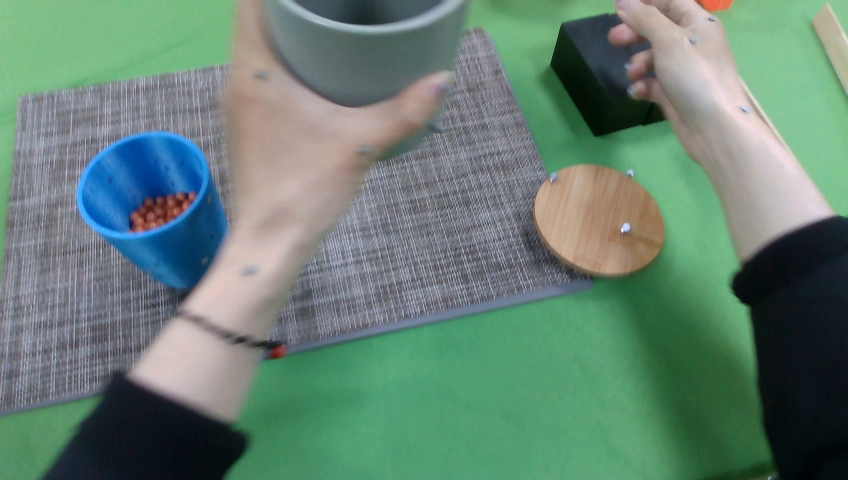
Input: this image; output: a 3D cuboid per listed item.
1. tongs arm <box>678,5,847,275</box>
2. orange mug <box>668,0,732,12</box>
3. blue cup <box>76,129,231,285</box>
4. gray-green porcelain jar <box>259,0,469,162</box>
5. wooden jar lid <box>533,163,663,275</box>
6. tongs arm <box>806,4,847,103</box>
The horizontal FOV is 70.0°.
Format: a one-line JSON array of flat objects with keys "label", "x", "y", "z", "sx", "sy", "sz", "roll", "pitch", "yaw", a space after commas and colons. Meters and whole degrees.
[{"label": "tongs arm", "x": 0.333, "y": -0.075, "z": 0.540, "sx": 0.051, "sy": 0.027, "sz": 0.381, "roll": -7, "pitch": 61, "yaw": -14}, {"label": "orange mug", "x": 0.296, "y": -0.306, "z": 0.637, "sx": 0.083, "sy": 0.101, "sz": 0.125, "roll": -13, "pitch": 56, "yaw": -10}, {"label": "blue cup", "x": -0.184, "y": -0.015, "z": 0.440, "sx": 0.093, "sy": 0.101, "sz": 0.092, "roll": 1, "pitch": 61, "yaw": -1}, {"label": "gray-green porcelain jar", "x": -0.033, "y": -0.112, "z": 0.339, "sx": 0.106, "sy": 0.127, "sz": 0.105, "roll": 2, "pitch": 67, "yaw": -5}, {"label": "wooden jar lid", "x": 0.142, "y": -0.016, "z": 0.504, "sx": 0.108, "sy": 0.021, "sz": 0.107, "roll": 3, "pitch": 58, "yaw": -4}, {"label": "tongs arm", "x": 0.416, "y": -0.081, "z": 0.555, "sx": 0.028, "sy": 0.028, "sz": 0.384, "roll": 7, "pitch": 59, "yaw": -9}]
